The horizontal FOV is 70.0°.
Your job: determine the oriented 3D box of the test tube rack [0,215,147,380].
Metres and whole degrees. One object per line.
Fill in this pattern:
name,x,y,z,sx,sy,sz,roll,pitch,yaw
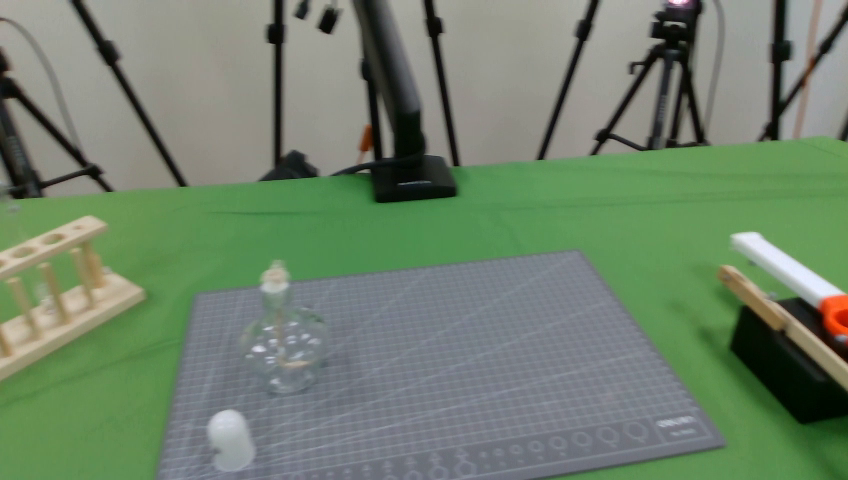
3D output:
test tube rack,-0.398,0.070,0.571,0.066,0.086,0.242,21,37,30

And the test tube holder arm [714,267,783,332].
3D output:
test tube holder arm,0.302,0.054,0.562,0.010,0.015,0.087,-6,32,-14

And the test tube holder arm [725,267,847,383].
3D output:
test tube holder arm,0.319,0.076,0.526,0.013,0.015,0.176,-7,32,-15

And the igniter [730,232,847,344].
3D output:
igniter,0.372,0.062,0.541,0.057,0.025,0.273,-7,29,-9

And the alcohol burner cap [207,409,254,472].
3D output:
alcohol burner cap,-0.153,0.153,0.472,0.034,0.048,0.033,0,32,0

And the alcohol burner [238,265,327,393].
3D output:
alcohol burner,-0.125,0.074,0.530,0.078,0.120,0.077,0,30,0

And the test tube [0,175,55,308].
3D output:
test tube,-0.384,0.006,0.581,0.017,0.151,0.017,0,34,0
